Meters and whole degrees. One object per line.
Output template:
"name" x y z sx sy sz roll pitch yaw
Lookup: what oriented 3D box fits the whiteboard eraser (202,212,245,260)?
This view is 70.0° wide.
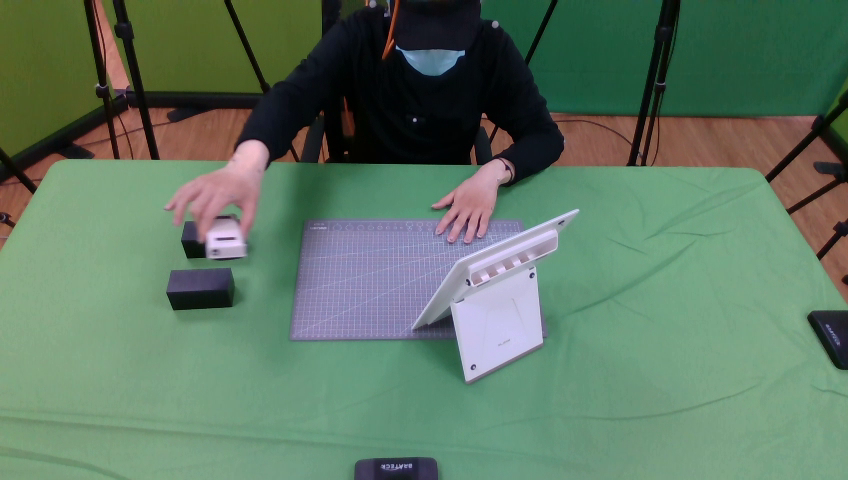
"whiteboard eraser" -0.327 -0.005 0.987 0.056 0.042 0.112 -1 30 -25

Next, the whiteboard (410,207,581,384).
"whiteboard" 0.131 0.108 0.946 0.217 0.306 0.143 -21 72 -23
